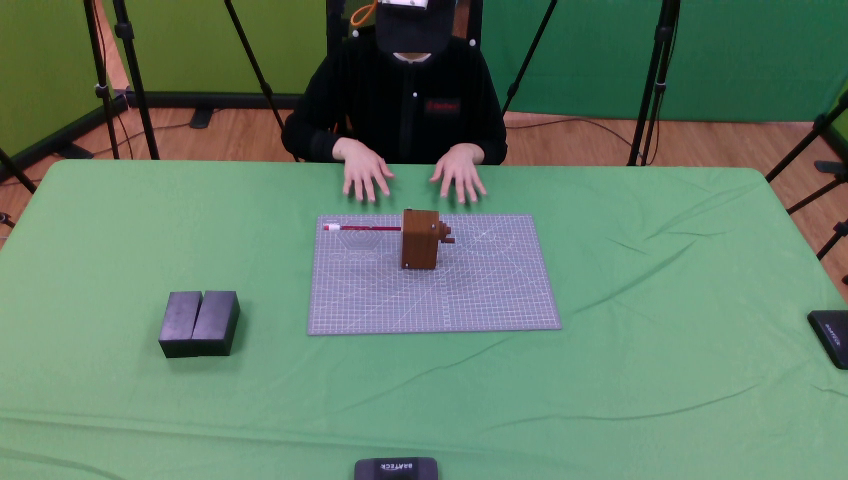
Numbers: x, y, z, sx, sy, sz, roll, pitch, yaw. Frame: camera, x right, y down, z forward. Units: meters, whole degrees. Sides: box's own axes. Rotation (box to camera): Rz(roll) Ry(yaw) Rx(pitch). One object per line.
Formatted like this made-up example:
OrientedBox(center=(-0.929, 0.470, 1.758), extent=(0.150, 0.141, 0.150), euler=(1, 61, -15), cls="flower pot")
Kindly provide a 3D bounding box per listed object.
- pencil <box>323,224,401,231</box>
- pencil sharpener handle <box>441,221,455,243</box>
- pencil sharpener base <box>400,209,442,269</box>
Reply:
OrientedBox(center=(-0.088, -0.021, 1.113), extent=(0.194, 0.012, 0.012), euler=(2, 46, -2), cls="pencil")
OrientedBox(center=(0.046, -0.011, 1.130), extent=(0.030, 0.068, 0.036), euler=(2, 65, -2), cls="pencil sharpener handle")
OrientedBox(center=(-0.006, 0.000, 1.134), extent=(0.077, 0.107, 0.061), euler=(2, 46, -2), cls="pencil sharpener base")
